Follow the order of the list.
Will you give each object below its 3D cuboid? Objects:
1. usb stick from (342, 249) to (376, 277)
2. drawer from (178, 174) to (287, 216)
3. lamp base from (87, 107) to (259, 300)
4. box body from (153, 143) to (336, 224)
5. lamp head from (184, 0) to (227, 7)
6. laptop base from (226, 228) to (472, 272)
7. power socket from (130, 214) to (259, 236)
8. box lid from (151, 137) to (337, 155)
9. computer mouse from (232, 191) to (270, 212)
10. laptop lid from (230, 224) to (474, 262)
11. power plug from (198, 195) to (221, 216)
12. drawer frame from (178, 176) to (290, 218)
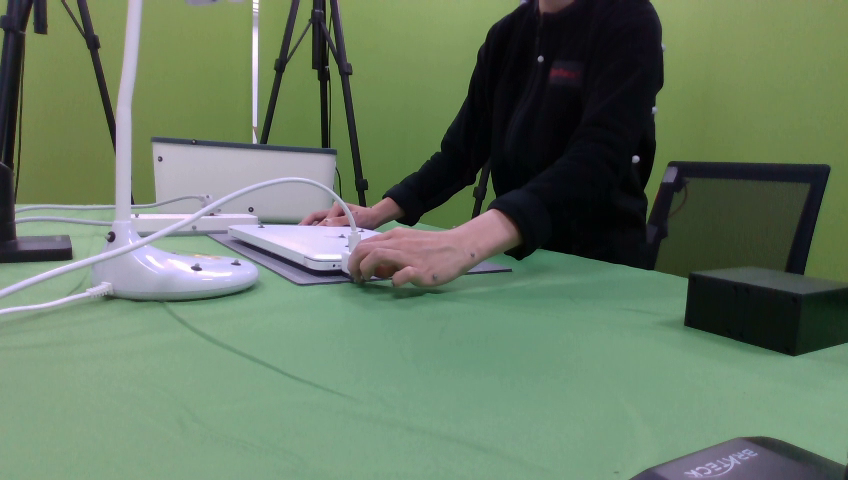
[{"bbox_3d":[-0.077,0.026,0.686,0.021,0.027,0.059,-10,7,-32],"label":"usb stick"},{"bbox_3d":[-0.414,-0.104,1.342,0.212,0.073,0.194,5,6,-11],"label":"drawer"},{"bbox_3d":[-0.254,-0.039,0.603,0.160,0.180,0.179,5,10,18],"label":"lamp base"},{"bbox_3d":[-0.380,-0.130,1.344,0.365,0.160,0.253,1,7,-9],"label":"box body"},{"bbox_3d":[-0.229,-0.320,0.627,0.112,0.112,0.123,6,-36,26],"label":"lamp head"},{"bbox_3d":[-0.124,0.012,0.889,0.237,0.023,0.352,2,6,-35],"label":"laptop base"},{"bbox_3d":[-0.397,-0.028,1.048,0.228,0.032,0.072,-3,7,-35],"label":"power socket"},{"bbox_3d":[-0.379,-0.203,1.334,0.372,0.015,0.262,2,7,-9],"label":"box lid"},{"bbox_3d":[-0.382,-0.086,1.343,0.063,0.041,0.117,10,10,-4],"label":"computer mouse"},{"bbox_3d":[-0.121,0.000,0.888,0.243,0.013,0.355,1,7,-33],"label":"laptop lid"},{"bbox_3d":[-0.386,-0.055,1.088,0.035,0.052,0.072,-2,6,-24],"label":"power plug"},{"bbox_3d":[-0.409,-0.100,1.340,0.214,0.082,0.201,-4,7,-10],"label":"drawer frame"}]
